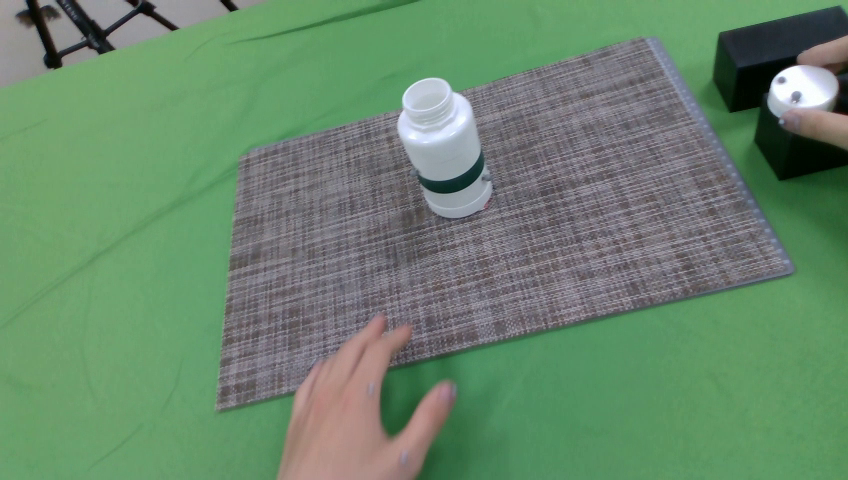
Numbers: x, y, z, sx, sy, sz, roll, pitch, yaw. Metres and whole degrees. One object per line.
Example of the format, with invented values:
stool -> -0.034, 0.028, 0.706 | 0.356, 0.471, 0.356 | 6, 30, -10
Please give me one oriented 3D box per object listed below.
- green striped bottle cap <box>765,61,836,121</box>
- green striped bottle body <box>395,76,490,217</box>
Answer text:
green striped bottle cap -> 0.277, -0.110, 0.446 | 0.044, 0.020, 0.044 | -10, 56, 15
green striped bottle body -> 0.015, -0.079, 0.512 | 0.063, 0.120, 0.062 | -9, 53, 12
